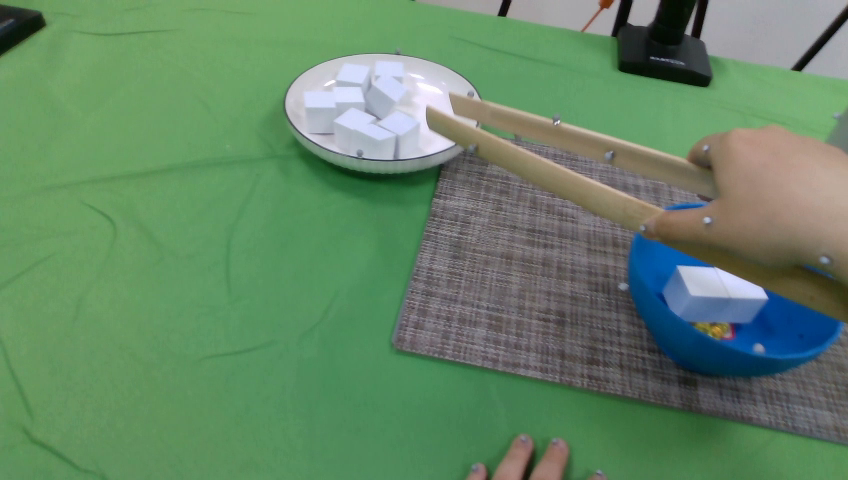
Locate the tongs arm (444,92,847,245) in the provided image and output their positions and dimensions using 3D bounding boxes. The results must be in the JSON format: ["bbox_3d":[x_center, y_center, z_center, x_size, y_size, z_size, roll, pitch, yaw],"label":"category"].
[{"bbox_3d":[0.145,-0.048,0.432,0.381,0.027,0.050,25,53,37],"label":"tongs arm"}]

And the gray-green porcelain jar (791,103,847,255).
[{"bbox_3d":[0.411,-0.056,0.556,0.106,0.127,0.105,3,45,-3],"label":"gray-green porcelain jar"}]

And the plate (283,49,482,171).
[{"bbox_3d":[-0.043,-0.136,0.643,0.209,0.038,0.207,3,45,-3],"label":"plate"}]

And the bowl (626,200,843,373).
[{"bbox_3d":[0.221,0.047,0.465,0.151,0.077,0.150,4,45,-3],"label":"bowl"}]

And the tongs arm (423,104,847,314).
[{"bbox_3d":[0.130,-0.037,0.423,0.028,0.028,0.383,-34,44,-28],"label":"tongs arm"}]
